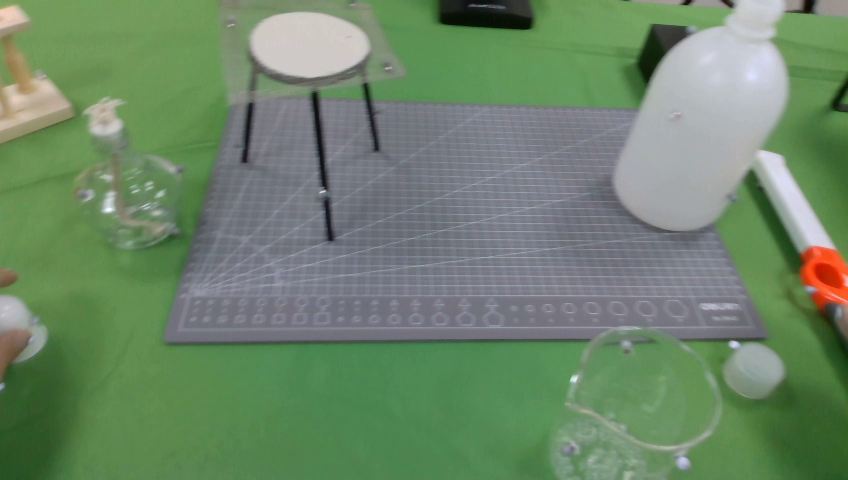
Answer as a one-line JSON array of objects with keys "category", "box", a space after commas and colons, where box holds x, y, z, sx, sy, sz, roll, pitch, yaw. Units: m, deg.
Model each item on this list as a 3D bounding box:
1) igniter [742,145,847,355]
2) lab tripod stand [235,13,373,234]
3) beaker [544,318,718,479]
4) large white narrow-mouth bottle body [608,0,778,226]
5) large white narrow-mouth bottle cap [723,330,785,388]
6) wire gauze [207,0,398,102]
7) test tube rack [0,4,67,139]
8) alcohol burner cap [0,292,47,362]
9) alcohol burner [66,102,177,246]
[{"category": "igniter", "box": [0.333, 0.014, 0.514, 0.057, 0.025, 0.273, 10, 47, -12]}, {"category": "lab tripod stand", "box": [-0.094, -0.100, 0.493, 0.148, 0.132, 0.147, 4, 48, -5]}, {"category": "beaker", "box": [0.112, 0.106, 0.357, 0.084, 0.101, 0.073, -9, 49, -12]}, {"category": "large white narrow-mouth bottle body", "box": [0.224, -0.109, 0.495, 0.102, 0.196, 0.101, 3, 48, -3]}, {"category": "large white narrow-mouth bottle cap", "box": [0.241, 0.087, 0.442, 0.038, 0.024, 0.037, 3, 48, -3]}, {"category": "wire gauze", "box": [-0.092, -0.146, 0.444, 0.122, 0.011, 0.123, -9, 51, -16]}, {"category": "test tube rack", "box": [-0.445, -0.109, 0.498, 0.242, 0.086, 0.066, -33, 59, -31]}, {"category": "alcohol burner cap", "box": [-0.275, 0.055, 0.399, 0.034, 0.048, 0.033, 3, 48, -3]}, {"category": "alcohol burner", "box": [-0.229, -0.052, 0.453, 0.078, 0.120, 0.077, 4, 46, -4]}]
